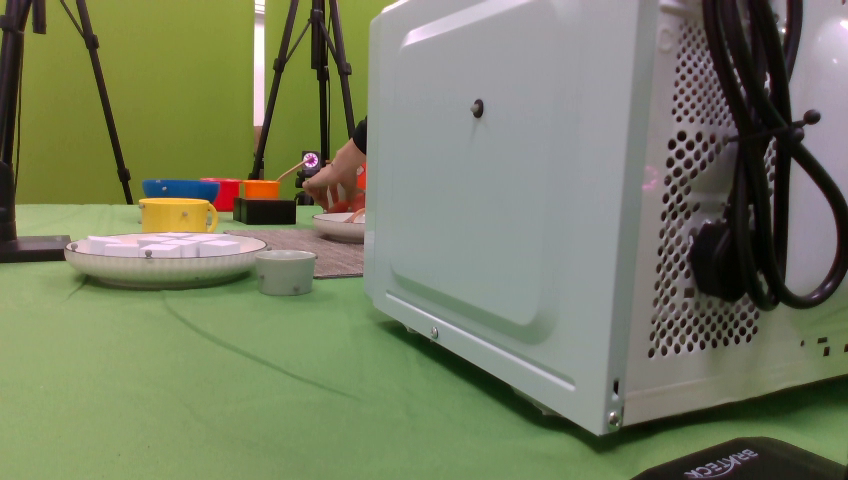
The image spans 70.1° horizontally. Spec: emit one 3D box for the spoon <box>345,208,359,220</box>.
[{"bbox_3d":[-0.124,-0.047,1.117,0.041,0.021,0.194,-2,18,17],"label":"spoon"}]

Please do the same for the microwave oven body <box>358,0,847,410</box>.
[{"bbox_3d":[0.210,-0.051,0.471,0.444,0.260,0.324,-1,7,-28],"label":"microwave oven body"}]

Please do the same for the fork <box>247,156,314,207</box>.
[{"bbox_3d":[-0.360,-0.147,1.523,0.207,0.019,0.028,-43,16,-6],"label":"fork"}]

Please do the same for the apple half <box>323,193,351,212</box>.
[{"bbox_3d":[-0.184,-0.067,1.315,0.081,0.033,0.081,-35,5,4],"label":"apple half"}]

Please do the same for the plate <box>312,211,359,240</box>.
[{"bbox_3d":[-0.091,-0.026,1.063,0.209,0.038,0.209,2,7,0],"label":"plate"}]

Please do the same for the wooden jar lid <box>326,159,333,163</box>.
[{"bbox_3d":[-0.185,-0.187,1.481,0.108,0.020,0.108,4,6,0],"label":"wooden jar lid"}]

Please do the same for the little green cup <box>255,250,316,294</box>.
[{"bbox_3d":[-0.144,0.032,0.627,0.061,0.038,0.061,3,6,0],"label":"little green cup"}]

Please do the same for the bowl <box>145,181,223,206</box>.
[{"bbox_3d":[-0.499,-0.081,1.261,0.151,0.077,0.151,2,8,0],"label":"bowl"}]

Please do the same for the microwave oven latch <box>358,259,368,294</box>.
[{"bbox_3d":[-0.019,0.031,0.531,0.079,0.029,0.030,-2,7,-29],"label":"microwave oven latch"}]

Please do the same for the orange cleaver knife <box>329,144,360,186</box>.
[{"bbox_3d":[-0.109,-0.149,1.364,0.212,0.077,0.012,21,-2,-24],"label":"orange cleaver knife"}]

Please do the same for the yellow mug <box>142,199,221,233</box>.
[{"bbox_3d":[-0.372,-0.030,0.948,0.099,0.064,0.131,6,7,30],"label":"yellow mug"}]

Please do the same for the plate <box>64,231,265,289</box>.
[{"bbox_3d":[-0.288,0.021,0.687,0.208,0.039,0.207,2,8,0],"label":"plate"}]

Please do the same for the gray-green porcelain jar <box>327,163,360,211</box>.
[{"bbox_3d":[-0.187,-0.125,1.490,0.106,0.126,0.106,2,8,0],"label":"gray-green porcelain jar"}]

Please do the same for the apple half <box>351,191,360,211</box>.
[{"bbox_3d":[-0.106,-0.065,1.260,0.081,0.074,0.053,1,10,-34],"label":"apple half"}]

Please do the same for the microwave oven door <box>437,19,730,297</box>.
[{"bbox_3d":[0.180,-0.076,0.618,0.358,0.243,0.039,-2,9,-28],"label":"microwave oven door"}]
